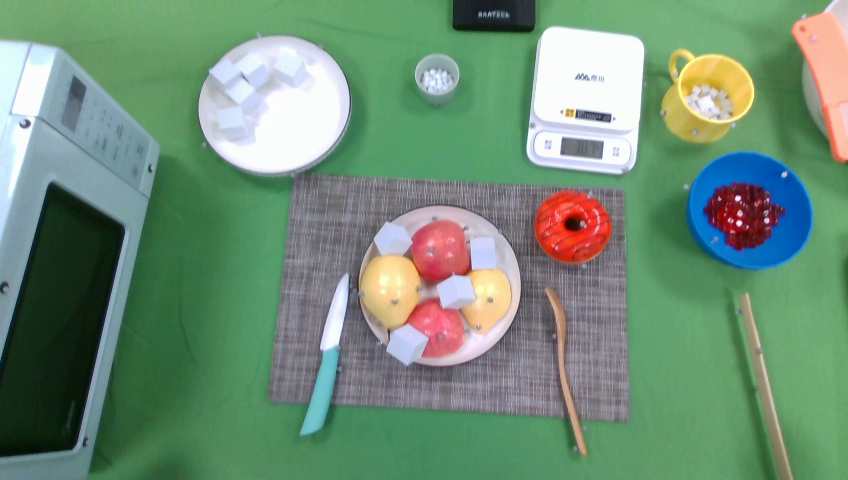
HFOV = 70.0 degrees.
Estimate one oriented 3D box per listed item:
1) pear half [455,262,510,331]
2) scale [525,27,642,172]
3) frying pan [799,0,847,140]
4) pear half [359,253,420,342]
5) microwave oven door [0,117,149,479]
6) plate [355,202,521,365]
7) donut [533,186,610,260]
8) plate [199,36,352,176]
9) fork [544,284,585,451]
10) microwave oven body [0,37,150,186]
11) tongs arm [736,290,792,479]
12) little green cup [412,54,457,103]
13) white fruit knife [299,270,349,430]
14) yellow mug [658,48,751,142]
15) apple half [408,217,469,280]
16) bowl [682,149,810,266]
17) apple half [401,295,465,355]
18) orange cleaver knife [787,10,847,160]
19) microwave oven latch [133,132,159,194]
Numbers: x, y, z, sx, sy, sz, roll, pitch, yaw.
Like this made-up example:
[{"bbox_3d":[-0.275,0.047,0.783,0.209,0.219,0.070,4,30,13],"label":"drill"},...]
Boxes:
[{"bbox_3d":[0.072,0.069,0.762,0.070,0.031,0.087,2,72,15],"label":"pear half"},{"bbox_3d":[0.222,-0.197,0.842,0.148,0.032,0.200,7,76,3],"label":"scale"},{"bbox_3d":[0.690,-0.129,0.782,0.307,0.103,0.484,-23,68,-4],"label":"frying pan"},{"bbox_3d":[-0.041,0.070,0.747,0.076,0.056,0.109,-2,80,-8],"label":"pear half"},{"bbox_3d":[-0.401,0.081,0.650,0.039,0.245,0.354,5,75,3],"label":"microwave oven door"},{"bbox_3d":[0.019,0.055,0.772,0.209,0.038,0.208,0,76,0],"label":"plate"},{"bbox_3d":[0.190,-0.022,0.787,0.099,0.048,0.098,-1,76,3],"label":"donut"},{"bbox_3d":[-0.202,-0.182,0.840,0.208,0.039,0.206,0,75,1],"label":"plate"},{"bbox_3d":[0.175,0.156,0.754,0.018,0.028,0.206,-12,77,26],"label":"fork"},{"bbox_3d":[-0.542,0.028,0.670,0.326,0.261,0.439,6,76,2],"label":"microwave oven body"},{"bbox_3d":[0.441,0.247,0.725,0.051,0.026,0.382,-5,77,-4],"label":"tongs arm"},{"bbox_3d":[0.016,-0.223,0.848,0.061,0.039,0.061,0,75,1],"label":"little green cup"},{"bbox_3d":[-0.120,0.136,0.764,0.027,0.016,0.206,13,75,-8],"label":"white fruit knife"},{"bbox_3d":[0.370,-0.205,0.825,0.100,0.064,0.130,-29,76,-6],"label":"yellow mug"},{"bbox_3d":[0.018,0.008,0.766,0.074,0.053,0.080,-9,79,1],"label":"apple half"},{"bbox_3d":[0.396,-0.032,0.774,0.151,0.077,0.150,0,76,1],"label":"bowl"},{"bbox_3d":[0.011,0.104,0.751,0.081,0.033,0.080,1,70,-2],"label":"apple half"},{"bbox_3d":[0.529,-0.205,0.783,0.077,0.012,0.210,-6,76,-4],"label":"orange cleaver knife"},{"bbox_3d":[-0.374,-0.103,0.802,0.030,0.029,0.079,7,76,2],"label":"microwave oven latch"}]
